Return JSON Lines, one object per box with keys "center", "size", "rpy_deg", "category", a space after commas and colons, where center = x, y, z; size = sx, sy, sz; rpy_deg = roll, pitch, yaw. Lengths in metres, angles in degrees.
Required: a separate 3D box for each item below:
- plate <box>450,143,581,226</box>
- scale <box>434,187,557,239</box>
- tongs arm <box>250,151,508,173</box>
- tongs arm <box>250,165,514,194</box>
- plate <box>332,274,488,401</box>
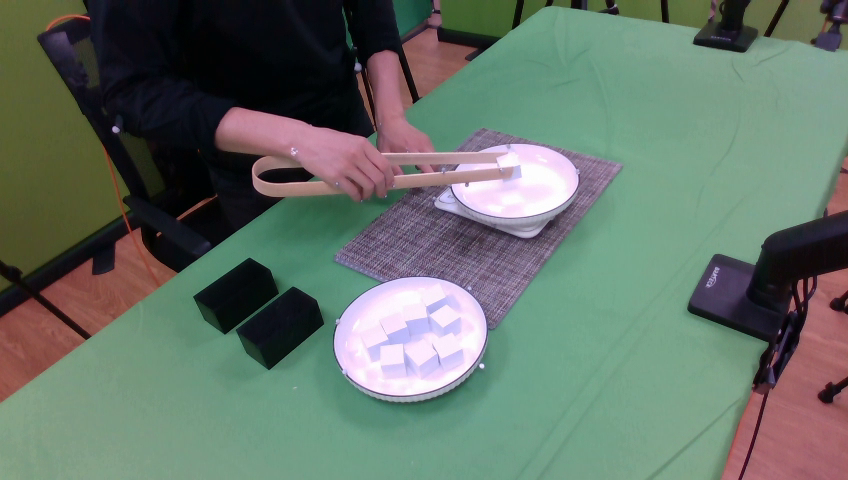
{"center": [0.148, -0.087, 0.986], "size": [0.209, 0.038, 0.208], "rpy_deg": [-4, 41, 4], "category": "plate"}
{"center": [0.132, -0.075, 1.025], "size": [0.199, 0.032, 0.149], "rpy_deg": [22, 48, 30], "category": "scale"}
{"center": [-0.056, -0.116, 0.896], "size": [0.389, 0.028, 0.028], "rpy_deg": [-3, 58, -16], "category": "tongs arm"}
{"center": [-0.052, -0.099, 0.883], "size": [0.387, 0.026, 0.050], "rpy_deg": [-7, 55, -19], "category": "tongs arm"}
{"center": [-0.017, 0.130, 0.808], "size": [0.207, 0.039, 0.206], "rpy_deg": [-4, 41, 4], "category": "plate"}
